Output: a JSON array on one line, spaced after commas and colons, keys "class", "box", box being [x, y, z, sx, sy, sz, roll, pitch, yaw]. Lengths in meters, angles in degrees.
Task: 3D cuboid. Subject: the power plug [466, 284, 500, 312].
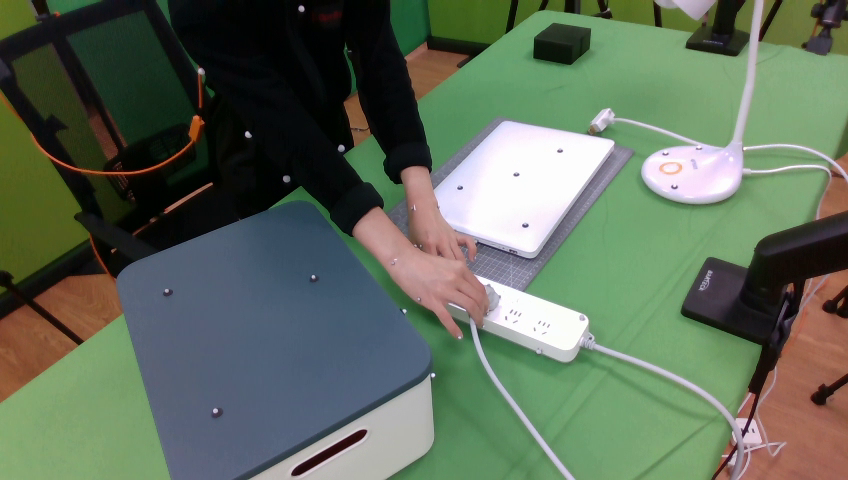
[{"class": "power plug", "box": [0.072, 0.088, 0.811, 0.073, 0.053, 0.035, -30, 42, -34]}]

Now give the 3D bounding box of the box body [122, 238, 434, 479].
[{"class": "box body", "box": [-0.175, 0.142, 0.725, 0.255, 0.161, 0.360, -25, 43, -20]}]

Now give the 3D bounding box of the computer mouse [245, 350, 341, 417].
[{"class": "computer mouse", "box": [-0.164, 0.173, 0.754, 0.118, 0.041, 0.062, -18, 33, -18]}]

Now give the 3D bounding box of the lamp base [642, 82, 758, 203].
[{"class": "lamp base", "box": [0.464, -0.174, 0.992, 0.179, 0.181, 0.159, -5, 41, -1]}]

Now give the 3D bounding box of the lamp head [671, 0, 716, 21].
[{"class": "lamp head", "box": [0.375, -0.373, 0.807, 0.122, 0.113, 0.112, -40, 27, 32]}]

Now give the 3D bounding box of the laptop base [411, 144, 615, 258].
[{"class": "laptop base", "box": [0.167, -0.102, 1.074, 0.234, 0.023, 0.355, 16, 45, 30]}]

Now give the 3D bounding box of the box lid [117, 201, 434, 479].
[{"class": "box lid", "box": [-0.182, 0.087, 0.675, 0.264, 0.015, 0.368, -25, 42, -20]}]

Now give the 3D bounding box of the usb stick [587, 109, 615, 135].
[{"class": "usb stick", "box": [0.344, -0.229, 1.184, 0.059, 0.021, 0.027, -47, 21, -8]}]

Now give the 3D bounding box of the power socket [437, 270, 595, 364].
[{"class": "power socket", "box": [0.118, 0.102, 0.831, 0.225, 0.033, 0.072, 20, 49, 28]}]

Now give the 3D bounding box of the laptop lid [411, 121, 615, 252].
[{"class": "laptop lid", "box": [0.164, -0.112, 1.068, 0.240, 0.013, 0.357, 19, 46, 31]}]

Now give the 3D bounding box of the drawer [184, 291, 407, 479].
[{"class": "drawer", "box": [-0.155, 0.180, 0.720, 0.195, 0.073, 0.210, -27, 40, -21]}]
